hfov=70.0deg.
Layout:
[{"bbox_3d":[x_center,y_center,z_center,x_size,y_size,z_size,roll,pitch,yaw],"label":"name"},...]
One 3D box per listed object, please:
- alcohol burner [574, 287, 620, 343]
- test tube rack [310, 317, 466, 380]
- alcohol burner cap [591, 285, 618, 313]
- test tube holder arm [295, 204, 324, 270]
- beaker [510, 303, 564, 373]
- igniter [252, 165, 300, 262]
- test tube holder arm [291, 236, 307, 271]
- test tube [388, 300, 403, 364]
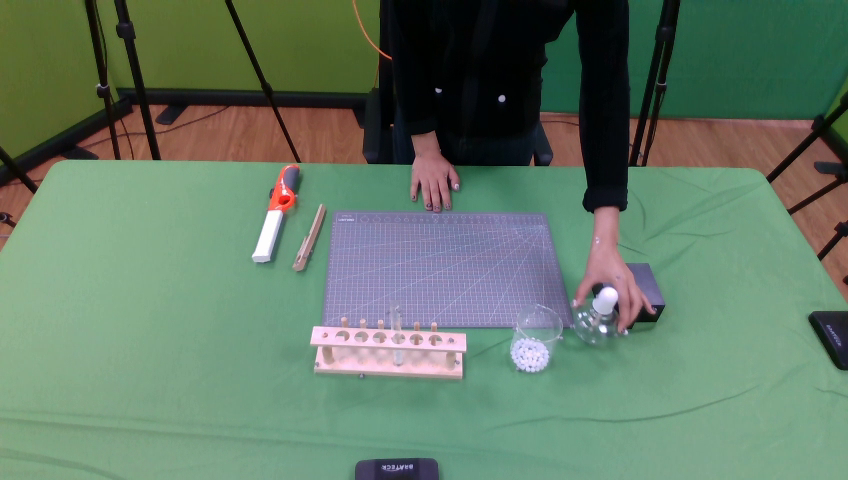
[{"bbox_3d":[0.289,0.117,0.998,0.078,0.119,0.077,3,48,-3],"label":"alcohol burner"},{"bbox_3d":[-0.056,0.171,0.986,0.242,0.085,0.066,3,45,-1],"label":"test tube rack"},{"bbox_3d":[0.292,0.091,0.972,0.034,0.048,0.033,4,52,-5],"label":"alcohol burner cap"},{"bbox_3d":[-0.223,-0.008,1.192,0.013,0.015,0.177,-18,37,26],"label":"test tube holder arm"},{"bbox_3d":[0.182,0.164,1.000,0.074,0.101,0.083,2,45,-1],"label":"beaker"},{"bbox_3d":[-0.298,-0.063,1.234,0.057,0.025,0.275,-2,45,8],"label":"igniter"},{"bbox_3d":[-0.234,0.024,1.163,0.010,0.015,0.087,-17,38,28],"label":"test tube holder arm"},{"bbox_3d":[-0.044,0.146,0.942,0.017,0.151,0.017,-1,44,1],"label":"test tube"}]
